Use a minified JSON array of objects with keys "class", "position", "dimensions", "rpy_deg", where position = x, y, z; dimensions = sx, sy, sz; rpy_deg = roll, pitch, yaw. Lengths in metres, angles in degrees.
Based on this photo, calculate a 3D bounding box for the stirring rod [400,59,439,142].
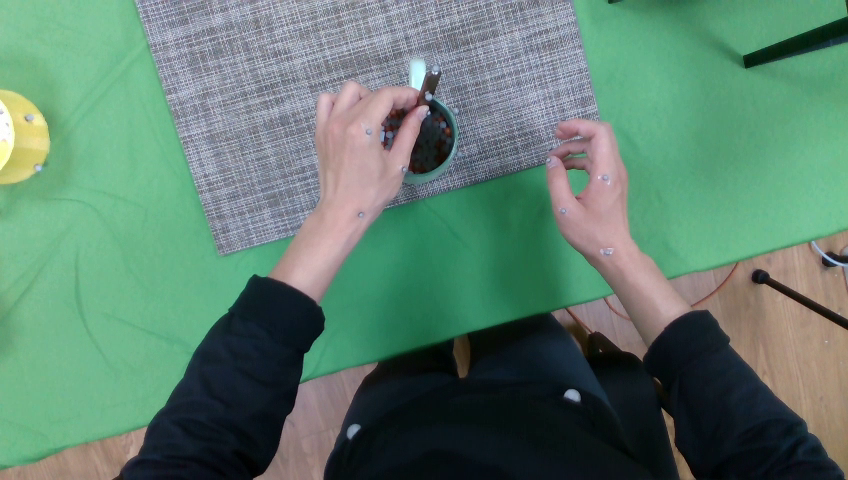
[{"class":"stirring rod","position":[-0.007,-0.126,0.572],"dimensions":[0.014,0.176,0.006],"rpy_deg":[-28,84,-13]}]

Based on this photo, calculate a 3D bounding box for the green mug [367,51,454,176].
[{"class":"green mug","position":[-0.013,-0.128,0.617],"dimensions":[0.092,0.104,0.125],"rpy_deg":[0,97,-3]}]

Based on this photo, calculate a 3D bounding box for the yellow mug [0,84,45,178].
[{"class":"yellow mug","position":[-0.457,-0.097,0.613],"dimensions":[0.100,0.064,0.131],"rpy_deg":[16,96,-6]}]
